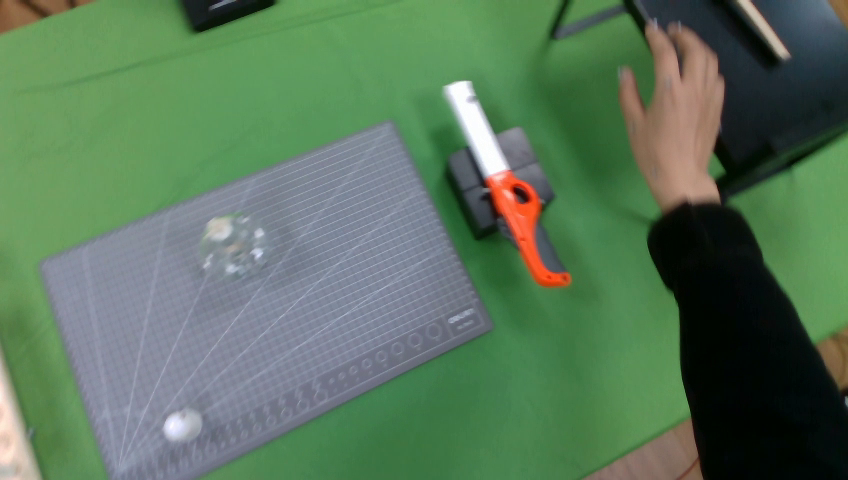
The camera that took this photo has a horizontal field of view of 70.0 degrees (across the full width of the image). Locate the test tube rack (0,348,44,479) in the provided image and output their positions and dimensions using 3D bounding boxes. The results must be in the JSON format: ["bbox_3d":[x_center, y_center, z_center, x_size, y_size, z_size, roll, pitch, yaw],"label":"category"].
[{"bbox_3d":[-0.478,0.169,0.622,0.067,0.085,0.241,-25,79,-9],"label":"test tube rack"}]

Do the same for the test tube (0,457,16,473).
[{"bbox_3d":[-0.427,0.209,0.564,0.017,0.151,0.017,2,70,-4],"label":"test tube"}]

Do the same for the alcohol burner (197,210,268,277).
[{"bbox_3d":[-0.214,0.000,0.665,0.078,0.119,0.077,1,77,-2],"label":"alcohol burner"}]

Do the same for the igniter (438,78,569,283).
[{"bbox_3d":[0.088,-0.070,0.702,0.057,0.025,0.275,-23,75,-12],"label":"igniter"}]

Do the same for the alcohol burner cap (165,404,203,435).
[{"bbox_3d":[-0.261,0.193,0.650,0.034,0.048,0.033,1,75,-5],"label":"alcohol burner cap"}]

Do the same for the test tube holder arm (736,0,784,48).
[{"bbox_3d":[0.314,-0.270,0.634,0.013,0.015,0.178,-43,80,27],"label":"test tube holder arm"}]
